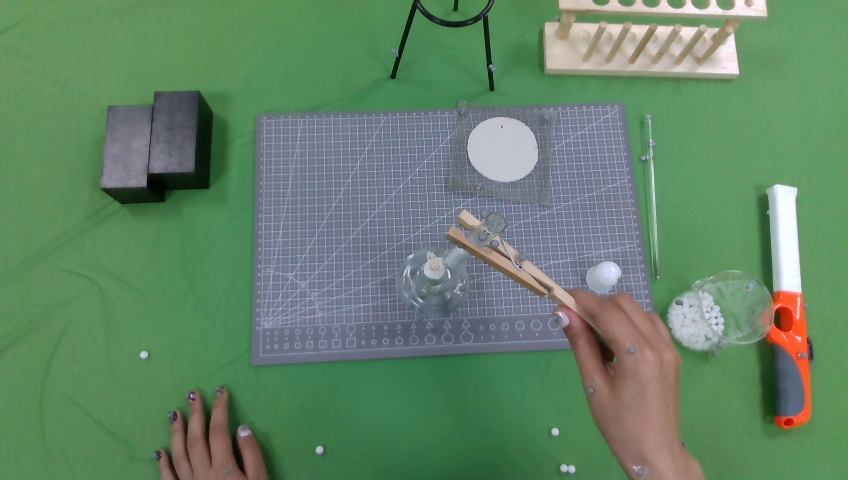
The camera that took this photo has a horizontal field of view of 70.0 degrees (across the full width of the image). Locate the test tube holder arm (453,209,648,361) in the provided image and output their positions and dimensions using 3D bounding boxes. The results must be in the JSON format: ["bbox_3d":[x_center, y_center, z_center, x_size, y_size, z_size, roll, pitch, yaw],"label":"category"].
[{"bbox_3d":[0.095,0.034,0.457,0.178,0.015,0.013,36,83,0],"label":"test tube holder arm"}]

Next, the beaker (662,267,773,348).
[{"bbox_3d":[0.302,0.074,0.643,0.084,0.101,0.074,28,75,7],"label":"beaker"}]

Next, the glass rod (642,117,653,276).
[{"bbox_3d":[0.267,-0.054,0.722,0.008,0.008,0.199,3,77,-1],"label":"glass rod"}]

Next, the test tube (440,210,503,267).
[{"bbox_3d":[0.034,0.002,0.477,0.017,0.150,0.017,2,78,-10],"label":"test tube"}]

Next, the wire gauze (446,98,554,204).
[{"bbox_3d":[0.093,-0.110,0.729,0.125,0.011,0.121,9,76,0],"label":"wire gauze"}]

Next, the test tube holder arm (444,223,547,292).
[{"bbox_3d":[0.055,0.014,0.456,0.088,0.015,0.010,30,82,0],"label":"test tube holder arm"}]

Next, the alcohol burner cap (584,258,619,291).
[{"bbox_3d":[0.200,0.036,0.676,0.034,0.048,0.033,0,75,-1],"label":"alcohol burner cap"}]

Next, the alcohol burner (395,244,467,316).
[{"bbox_3d":[0.007,0.038,0.632,0.078,0.119,0.077,0,74,0],"label":"alcohol burner"}]

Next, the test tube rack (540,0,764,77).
[{"bbox_3d":[0.271,-0.252,0.735,0.242,0.085,0.066,1,75,-1],"label":"test tube rack"}]

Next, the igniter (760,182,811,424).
[{"bbox_3d":[0.406,0.067,0.685,0.057,0.025,0.275,9,75,-10],"label":"igniter"}]

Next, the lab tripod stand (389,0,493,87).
[{"bbox_3d":[0.025,-0.248,0.701,0.148,0.132,0.147,0,77,-1],"label":"lab tripod stand"}]
